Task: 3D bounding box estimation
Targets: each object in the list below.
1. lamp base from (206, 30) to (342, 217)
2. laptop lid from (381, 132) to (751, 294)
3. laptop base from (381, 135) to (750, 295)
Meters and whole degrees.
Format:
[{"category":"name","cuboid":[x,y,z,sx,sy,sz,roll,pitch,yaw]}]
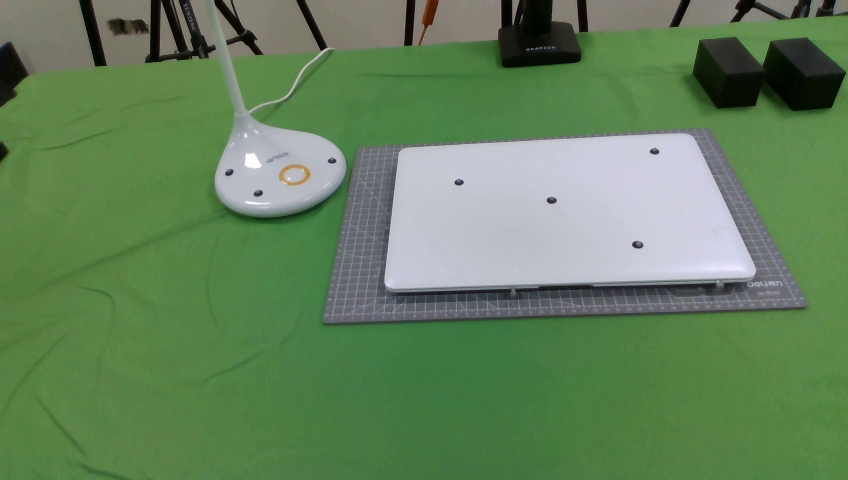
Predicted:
[{"category":"lamp base","cuboid":[-0.198,-0.143,0.703,0.177,0.182,0.160,26,51,33]},{"category":"laptop lid","cuboid":[0.135,-0.039,0.653,0.356,0.013,0.239,-2,45,5]},{"category":"laptop base","cuboid":[0.136,-0.032,0.663,0.354,0.023,0.233,-3,46,4]}]
